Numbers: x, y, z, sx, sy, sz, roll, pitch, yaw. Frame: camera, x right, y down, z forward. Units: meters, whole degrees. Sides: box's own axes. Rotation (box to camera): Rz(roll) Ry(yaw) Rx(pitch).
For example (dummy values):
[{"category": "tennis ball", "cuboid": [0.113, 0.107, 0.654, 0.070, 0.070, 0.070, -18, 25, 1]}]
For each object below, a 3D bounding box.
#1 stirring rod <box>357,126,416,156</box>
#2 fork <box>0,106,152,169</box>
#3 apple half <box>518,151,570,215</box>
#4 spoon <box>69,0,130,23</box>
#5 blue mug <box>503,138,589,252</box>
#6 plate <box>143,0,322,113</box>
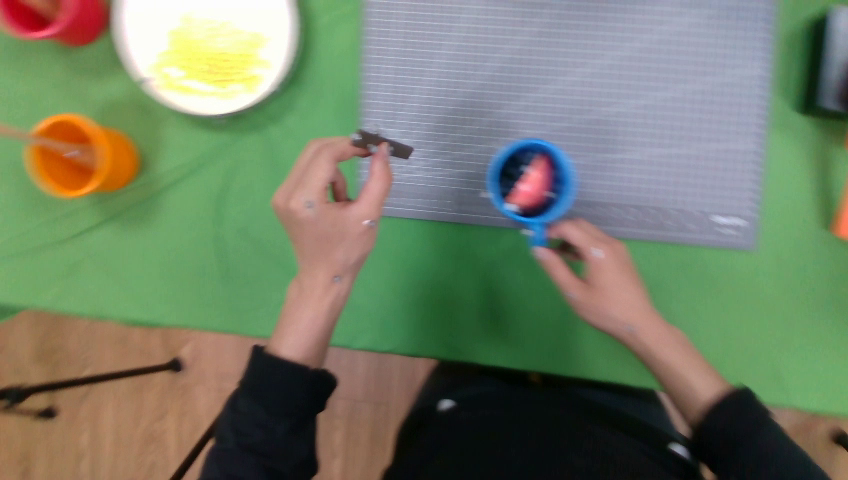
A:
[{"category": "stirring rod", "cuboid": [-0.028, -0.082, 0.515, 0.006, 0.176, 0.014, 34, 100, 6]}, {"category": "fork", "cuboid": [-0.409, -0.122, 0.669, 0.209, 0.018, 0.028, 19, 97, -40]}, {"category": "apple half", "cuboid": [0.132, -0.054, 0.632, 0.032, 0.081, 0.081, 40, 98, 9]}, {"category": "spoon", "cuboid": [-0.427, -0.284, 0.660, 0.195, 0.021, 0.041, 9, 96, -38]}, {"category": "blue mug", "cuboid": [0.127, -0.045, 0.640, 0.082, 0.106, 0.116, -6, 94, 7]}, {"category": "plate", "cuboid": [-0.215, -0.250, 0.694, 0.209, 0.038, 0.209, 1, 95, 6]}]
